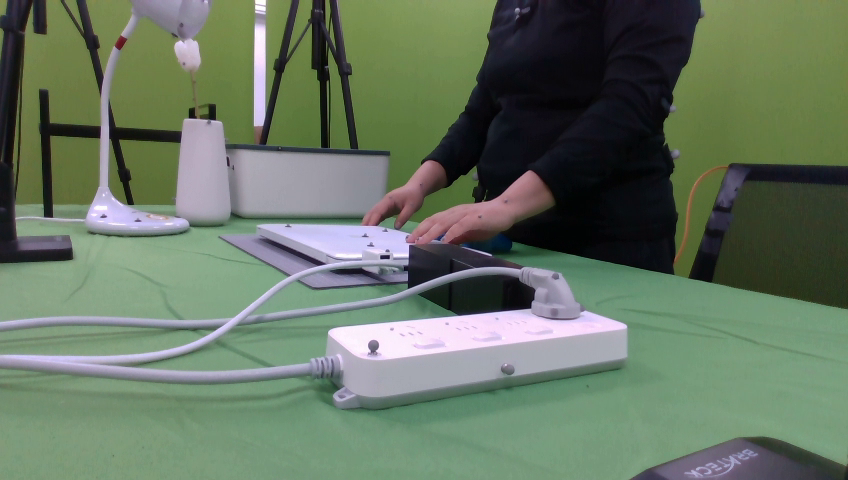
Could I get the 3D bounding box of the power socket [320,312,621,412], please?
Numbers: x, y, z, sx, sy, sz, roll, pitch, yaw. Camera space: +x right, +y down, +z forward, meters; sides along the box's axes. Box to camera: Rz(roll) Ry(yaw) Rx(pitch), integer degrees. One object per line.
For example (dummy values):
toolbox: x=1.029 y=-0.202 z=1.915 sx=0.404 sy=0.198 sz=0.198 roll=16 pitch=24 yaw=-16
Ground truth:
power socket: x=0.038 y=0.075 z=0.410 sx=0.228 sy=0.032 sz=0.072 roll=-2 pitch=8 yaw=-29

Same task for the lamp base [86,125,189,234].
lamp base: x=-0.498 y=-0.105 z=1.027 sx=0.179 sy=0.180 sz=0.160 roll=1 pitch=7 yaw=3

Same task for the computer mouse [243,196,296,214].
computer mouse: x=-0.362 y=-0.082 z=1.416 sx=0.117 sy=0.041 sz=0.063 roll=-3 pitch=10 yaw=5

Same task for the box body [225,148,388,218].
box body: x=-0.299 y=-0.143 z=1.474 sx=0.366 sy=0.160 sz=0.253 roll=-1 pitch=9 yaw=-30

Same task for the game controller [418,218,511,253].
game controller: x=0.063 y=-0.008 z=1.028 sx=0.154 sy=0.051 sz=0.097 roll=10 pitch=14 yaw=43

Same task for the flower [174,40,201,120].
flower: x=-0.430 y=-0.211 z=1.165 sx=0.044 sy=0.361 sz=0.038 roll=-10 pitch=-5 yaw=-24

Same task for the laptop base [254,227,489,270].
laptop base: x=-0.095 y=0.011 z=0.912 sx=0.237 sy=0.023 sz=0.352 roll=2 pitch=6 yaw=-32

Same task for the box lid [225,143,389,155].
box lid: x=-0.296 y=-0.217 z=1.463 sx=0.373 sy=0.015 sz=0.262 roll=-2 pitch=8 yaw=-29

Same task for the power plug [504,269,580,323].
power plug: x=0.091 y=0.051 z=0.470 sx=0.035 sy=0.052 sz=0.072 roll=0 pitch=6 yaw=-16

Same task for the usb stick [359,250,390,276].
usb stick: x=-0.061 y=0.026 z=0.709 sx=0.021 sy=0.027 sz=0.059 roll=-1 pitch=3 yaw=-29

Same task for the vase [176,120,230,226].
vase: x=-0.425 y=-0.128 z=1.159 sx=0.098 sy=0.200 sz=0.098 roll=2 pitch=9 yaw=0

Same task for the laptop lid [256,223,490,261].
laptop lid: x=-0.093 y=0.000 z=0.911 sx=0.243 sy=0.013 sz=0.355 roll=1 pitch=7 yaw=-30

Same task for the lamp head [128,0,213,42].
lamp head: x=-0.423 y=-0.394 z=0.980 sx=0.123 sy=0.112 sz=0.112 roll=20 pitch=7 yaw=-3
